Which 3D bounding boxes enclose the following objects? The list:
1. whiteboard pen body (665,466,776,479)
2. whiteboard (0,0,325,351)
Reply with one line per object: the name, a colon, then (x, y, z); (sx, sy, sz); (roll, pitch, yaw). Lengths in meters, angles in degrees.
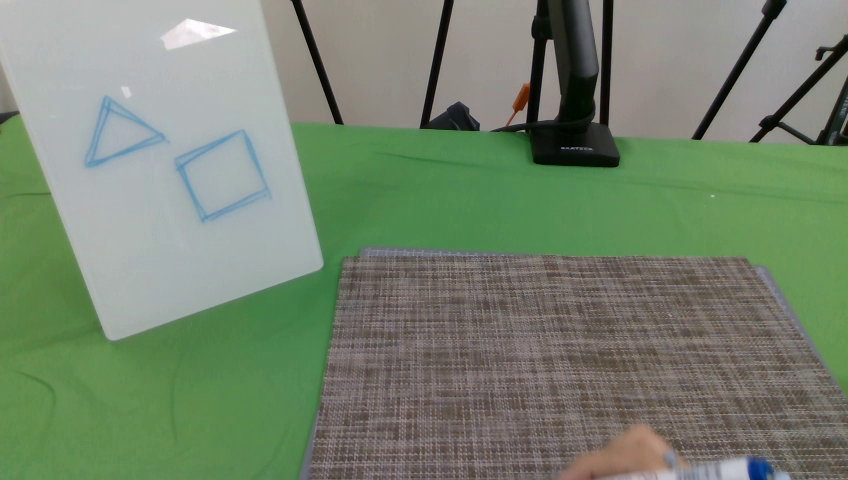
whiteboard pen body: (0.099, 0.129, 0.297); (0.140, 0.017, 0.017); (-30, 15, 39)
whiteboard: (-0.255, -0.085, 0.612); (0.218, 0.307, 0.142); (-20, 21, -25)
